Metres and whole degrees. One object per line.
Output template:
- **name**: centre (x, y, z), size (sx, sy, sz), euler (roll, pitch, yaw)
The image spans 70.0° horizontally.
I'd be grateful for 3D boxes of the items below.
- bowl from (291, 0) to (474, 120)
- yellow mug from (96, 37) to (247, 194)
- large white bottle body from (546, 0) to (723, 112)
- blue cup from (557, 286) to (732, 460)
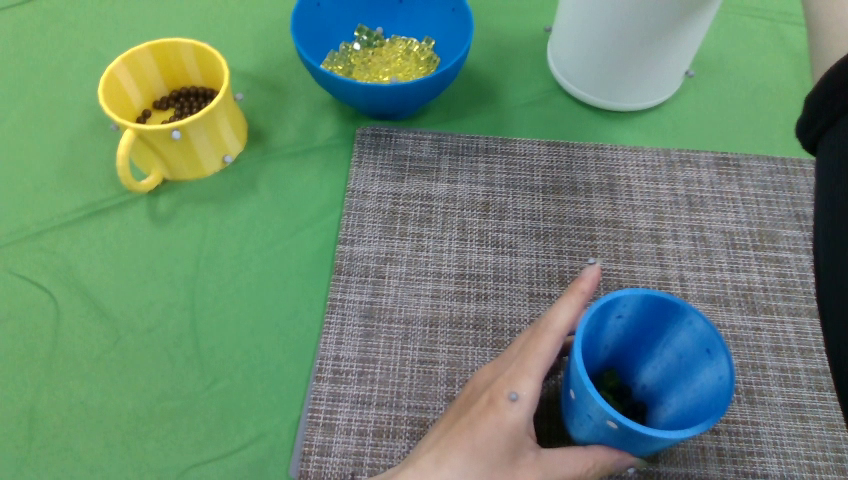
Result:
- **bowl**: centre (-0.034, -0.159, 0.528), size (0.151, 0.077, 0.150), euler (1, 59, -1)
- **yellow mug**: centre (-0.207, -0.094, 0.489), size (0.100, 0.064, 0.130), euler (15, 61, 7)
- **large white bottle body**: centre (0.182, -0.215, 0.505), size (0.131, 0.186, 0.129), euler (1, 59, -1)
- **blue cup**: centre (0.121, 0.089, 0.364), size (0.092, 0.101, 0.092), euler (0, 57, 0)
